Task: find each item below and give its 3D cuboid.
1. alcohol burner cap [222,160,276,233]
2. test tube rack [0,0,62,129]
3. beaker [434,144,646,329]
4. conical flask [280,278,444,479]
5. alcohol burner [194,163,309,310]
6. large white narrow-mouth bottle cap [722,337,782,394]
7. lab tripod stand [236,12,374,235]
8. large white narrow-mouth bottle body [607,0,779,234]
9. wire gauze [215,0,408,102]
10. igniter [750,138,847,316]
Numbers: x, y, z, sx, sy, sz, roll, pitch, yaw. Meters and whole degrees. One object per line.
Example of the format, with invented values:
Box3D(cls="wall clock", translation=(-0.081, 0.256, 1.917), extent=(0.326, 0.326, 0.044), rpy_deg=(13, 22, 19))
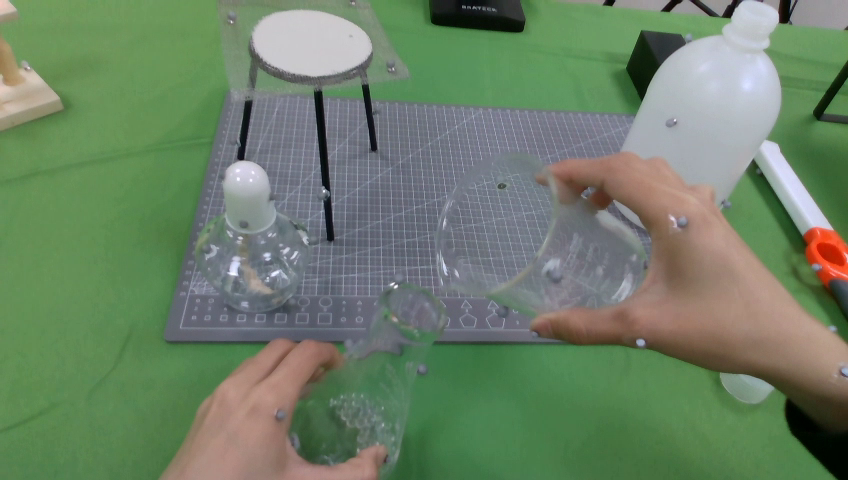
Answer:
Box3D(cls="alcohol burner cap", translation=(-0.113, -0.030, 0.388), extent=(0.034, 0.048, 0.033), rpy_deg=(4, 53, -5))
Box3D(cls="test tube rack", translation=(-0.440, -0.115, 0.483), extent=(0.242, 0.086, 0.066), rpy_deg=(-33, 60, -33))
Box3D(cls="beaker", translation=(0.064, 0.007, 0.324), extent=(0.101, 0.084, 0.073), rpy_deg=(23, 26, -40))
Box3D(cls="conical flask", translation=(-0.030, 0.078, 0.343), extent=(0.075, 0.122, 0.074), rpy_deg=(21, 33, -14))
Box3D(cls="alcohol burner", translation=(-0.118, -0.007, 0.415), extent=(0.078, 0.120, 0.077), rpy_deg=(6, 46, -6))
Box3D(cls="large white narrow-mouth bottle cap", translation=(0.244, 0.094, 0.451), extent=(0.038, 0.024, 0.037), rpy_deg=(4, 47, -4))
Box3D(cls="lab tripod stand", translation=(-0.089, -0.099, 0.490), extent=(0.149, 0.132, 0.147), rpy_deg=(6, 48, -6))
Box3D(cls="large white narrow-mouth bottle body", translation=(0.229, -0.102, 0.504), extent=(0.102, 0.196, 0.101), rpy_deg=(4, 47, -4))
Box3D(cls="wire gauze", translation=(-0.085, -0.145, 0.442), extent=(0.122, 0.011, 0.123), rpy_deg=(-9, 52, -17))
Box3D(cls="igniter", translation=(0.361, -0.001, 0.552), extent=(0.057, 0.025, 0.273), rpy_deg=(10, 46, -15))
